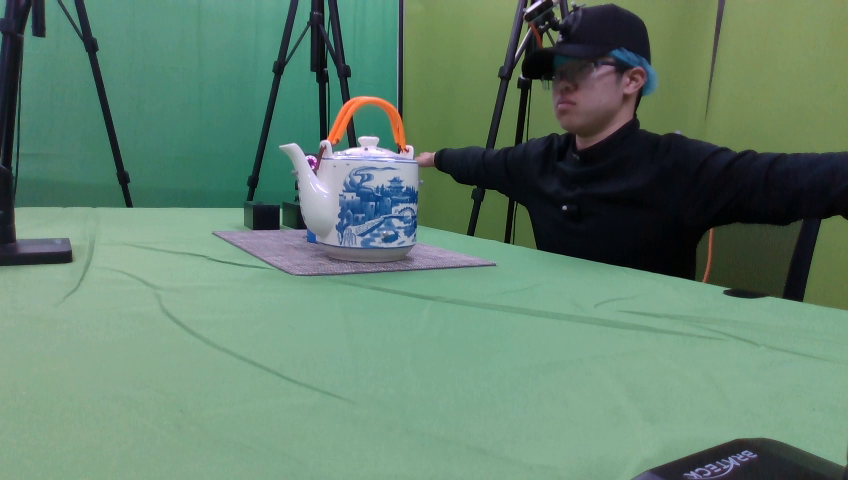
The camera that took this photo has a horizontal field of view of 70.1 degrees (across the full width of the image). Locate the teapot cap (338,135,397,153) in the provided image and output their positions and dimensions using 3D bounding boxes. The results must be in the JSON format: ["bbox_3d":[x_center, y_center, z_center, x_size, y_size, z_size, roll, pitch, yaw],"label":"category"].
[{"bbox_3d":[-0.080,-0.127,0.854,0.085,0.044,0.085,-1,6,0],"label":"teapot cap"}]

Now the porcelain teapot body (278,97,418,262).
[{"bbox_3d":[-0.104,-0.086,0.842,0.206,0.225,0.144,-4,10,-38],"label":"porcelain teapot body"}]

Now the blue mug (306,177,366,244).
[{"bbox_3d":[-0.144,-0.052,1.027,0.082,0.106,0.117,9,10,42],"label":"blue mug"}]
